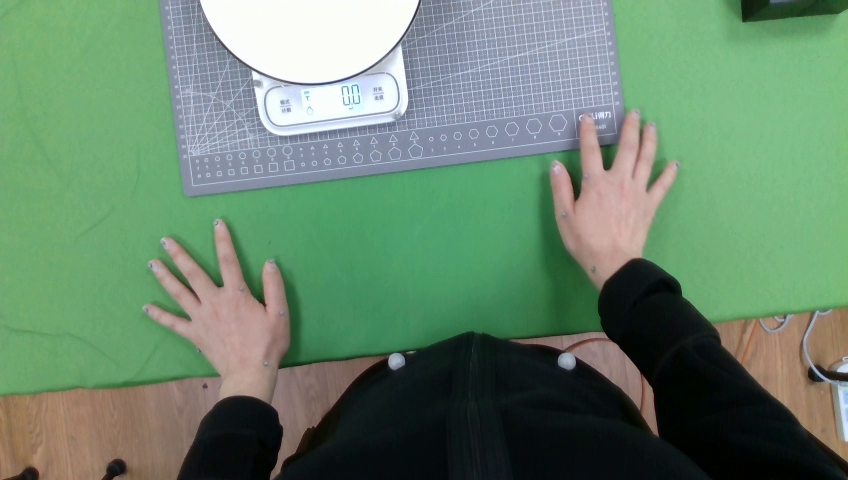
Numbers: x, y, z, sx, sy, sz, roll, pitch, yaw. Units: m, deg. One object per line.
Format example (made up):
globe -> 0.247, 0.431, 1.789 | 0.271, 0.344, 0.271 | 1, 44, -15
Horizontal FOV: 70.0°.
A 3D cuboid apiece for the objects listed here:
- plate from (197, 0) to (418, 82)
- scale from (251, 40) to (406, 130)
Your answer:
plate -> -0.104, -0.247, 0.560 | 0.209, 0.038, 0.209 | 0, 91, -2
scale -> -0.102, -0.216, 0.594 | 0.149, 0.031, 0.201 | -8, 91, 0
